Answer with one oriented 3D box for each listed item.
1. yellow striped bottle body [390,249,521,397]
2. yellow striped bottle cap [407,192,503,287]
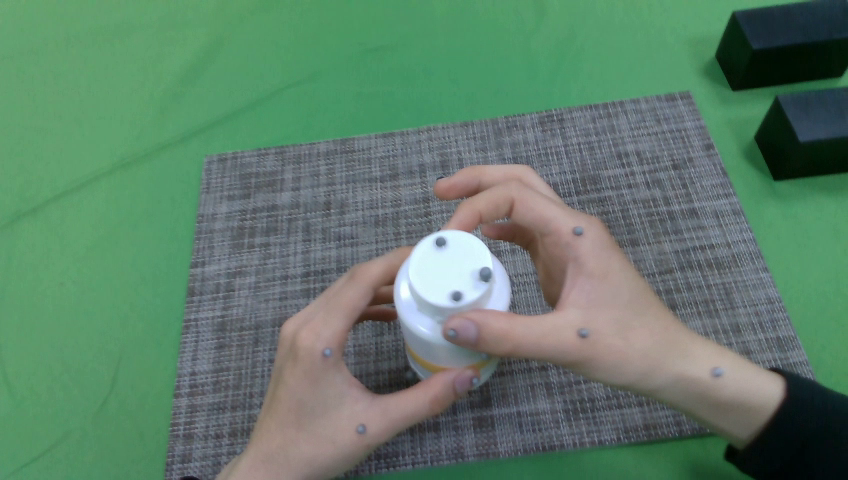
[{"bbox_3d":[0.019,0.045,0.352,0.062,0.121,0.062,-7,58,12],"label":"yellow striped bottle body"},{"bbox_3d":[0.015,0.000,0.286,0.044,0.019,0.044,-3,53,4],"label":"yellow striped bottle cap"}]
